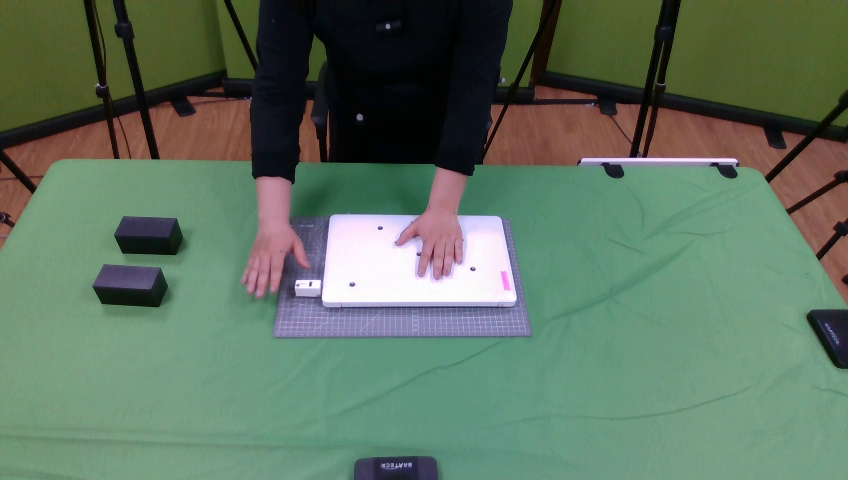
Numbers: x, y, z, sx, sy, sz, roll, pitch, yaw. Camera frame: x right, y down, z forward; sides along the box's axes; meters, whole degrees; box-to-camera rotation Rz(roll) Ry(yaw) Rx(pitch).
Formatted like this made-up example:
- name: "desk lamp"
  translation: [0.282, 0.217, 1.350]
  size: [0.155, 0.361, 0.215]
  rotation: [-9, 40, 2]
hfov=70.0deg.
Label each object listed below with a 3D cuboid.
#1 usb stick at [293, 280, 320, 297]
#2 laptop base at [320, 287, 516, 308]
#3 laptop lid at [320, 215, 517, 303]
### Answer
- name: "usb stick"
  translation: [-0.201, 0.087, 1.083]
  size: [0.059, 0.027, 0.021]
  rotation: [3, 49, -2]
- name: "laptop base"
  translation: [-0.013, 0.040, 1.160]
  size: [0.355, 0.023, 0.234]
  rotation: [0, 42, -4]
- name: "laptop lid"
  translation: [-0.012, 0.031, 1.153]
  size: [0.357, 0.013, 0.240]
  rotation: [2, 43, -3]
